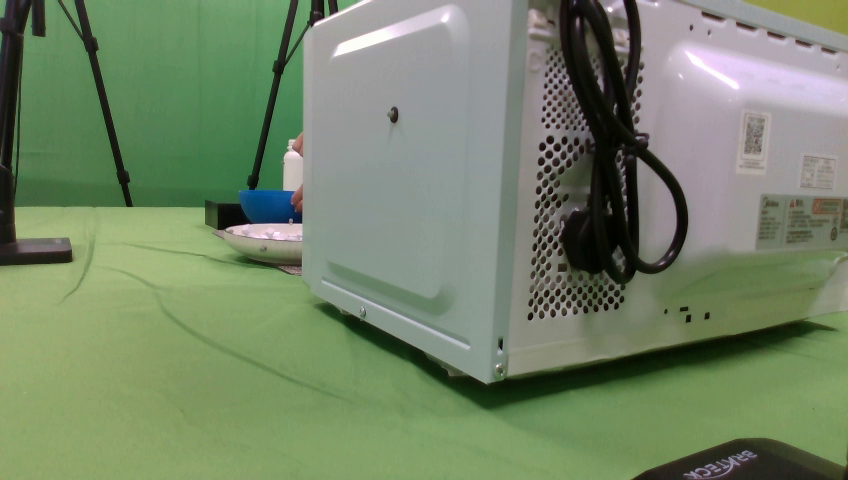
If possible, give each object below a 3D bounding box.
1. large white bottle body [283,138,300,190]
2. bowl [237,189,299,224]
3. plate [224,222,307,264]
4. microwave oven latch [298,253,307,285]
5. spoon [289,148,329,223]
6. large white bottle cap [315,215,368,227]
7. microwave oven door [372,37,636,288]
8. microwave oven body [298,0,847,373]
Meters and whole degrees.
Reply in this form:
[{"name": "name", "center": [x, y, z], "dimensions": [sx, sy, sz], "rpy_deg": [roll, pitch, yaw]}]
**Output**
[{"name": "large white bottle body", "center": [-0.265, -0.144, 1.424], "dimensions": [0.131, 0.184, 0.130], "rpy_deg": [2, 7, 0]}, {"name": "bowl", "center": [-0.246, -0.045, 1.053], "dimensions": [0.151, 0.077, 0.151], "rpy_deg": [3, 7, 0]}, {"name": "plate", "center": [-0.171, 0.004, 0.849], "dimensions": [0.209, 0.038, 0.209], "rpy_deg": [2, 7, 0]}, {"name": "microwave oven latch", "center": [-0.081, 0.027, 0.583], "dimensions": [0.079, 0.029, 0.030], "rpy_deg": [-2, 7, -33]}, {"name": "spoon", "center": [-0.205, -0.104, 1.102], "dimensions": [0.021, 0.042, 0.193], "rpy_deg": [4, 47, 19]}, {"name": "large white bottle cap", "center": [-0.178, -0.041, 1.309], "dimensions": [0.115, 0.018, 0.115], "rpy_deg": [2, 6, 0]}, {"name": "microwave oven door", "center": [0.110, -0.080, 0.686], "dimensions": [0.358, 0.243, 0.039], "rpy_deg": [-2, 9, -33]}, {"name": "microwave oven body", "center": [0.151, -0.055, 0.542], "dimensions": [0.444, 0.260, 0.324], "rpy_deg": [-2, 7, -33]}]
